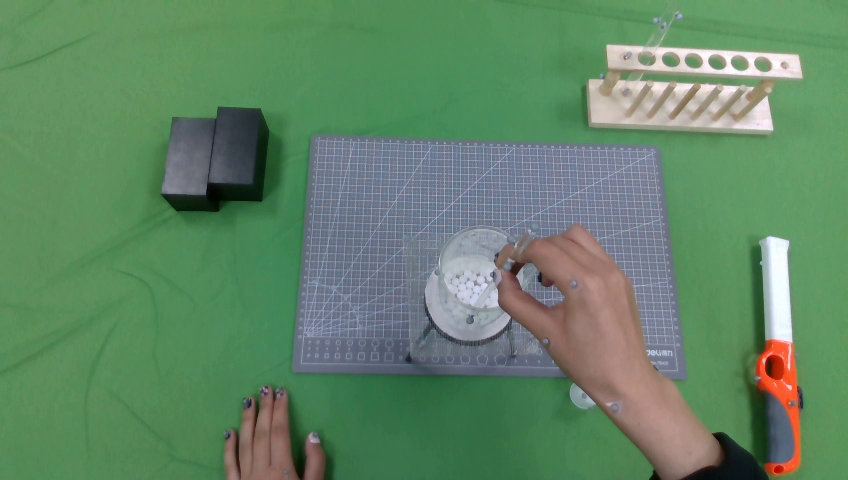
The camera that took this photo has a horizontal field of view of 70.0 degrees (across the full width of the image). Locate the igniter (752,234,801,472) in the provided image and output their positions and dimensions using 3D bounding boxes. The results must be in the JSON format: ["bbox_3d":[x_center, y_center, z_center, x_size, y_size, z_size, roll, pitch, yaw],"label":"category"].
[{"bbox_3d":[0.408,0.125,0.704,0.057,0.025,0.275,12,71,-10],"label":"igniter"}]

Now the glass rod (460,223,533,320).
[{"bbox_3d":[0.051,0.032,0.470,0.008,0.200,0.008,4,66,-8],"label":"glass rod"}]

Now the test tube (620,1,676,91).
[{"bbox_3d":[0.267,-0.229,0.731,0.017,0.151,0.017,1,68,-1],"label":"test tube"}]

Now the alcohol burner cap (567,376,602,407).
[{"bbox_3d":[0.180,0.167,0.671,0.034,0.048,0.033,1,70,-2],"label":"alcohol burner cap"}]

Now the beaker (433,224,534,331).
[{"bbox_3d":[0.047,0.038,0.534,0.084,0.101,0.073,-3,71,-4],"label":"beaker"}]

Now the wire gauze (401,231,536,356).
[{"bbox_3d":[0.041,0.050,0.581,0.125,0.011,0.120,-2,70,-1],"label":"wire gauze"}]

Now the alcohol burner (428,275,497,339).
[{"bbox_3d":[0.044,0.070,0.654,0.078,0.119,0.077,2,70,-4],"label":"alcohol burner"}]

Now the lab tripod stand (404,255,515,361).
[{"bbox_3d":[0.038,0.074,0.642,0.148,0.132,0.147,0,70,-1],"label":"lab tripod stand"}]

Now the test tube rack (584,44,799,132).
[{"bbox_3d":[0.337,-0.192,0.775,0.242,0.085,0.066,2,71,-2],"label":"test tube rack"}]
